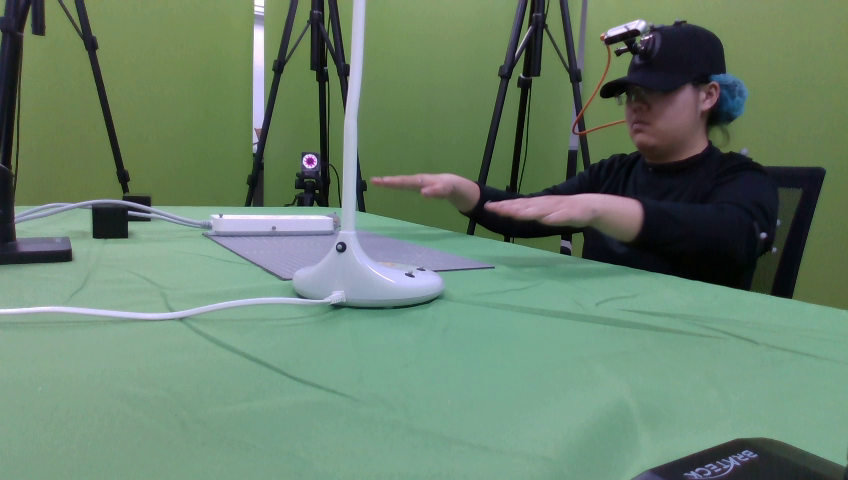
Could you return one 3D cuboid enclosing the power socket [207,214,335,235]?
[{"bbox_3d":[-0.271,-0.029,1.086,0.228,0.032,0.072,-1,8,-28],"label":"power socket"}]

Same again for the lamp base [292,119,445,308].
[{"bbox_3d":[-0.056,-0.030,0.616,0.160,0.180,0.179,4,10,8],"label":"lamp base"}]

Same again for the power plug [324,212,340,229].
[{"bbox_3d":[-0.200,-0.027,1.194,0.072,0.035,0.052,-35,13,-11],"label":"power plug"}]
